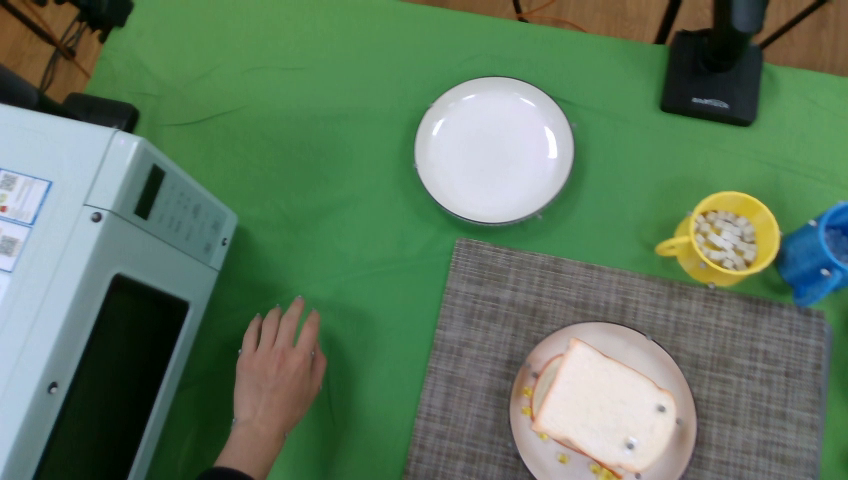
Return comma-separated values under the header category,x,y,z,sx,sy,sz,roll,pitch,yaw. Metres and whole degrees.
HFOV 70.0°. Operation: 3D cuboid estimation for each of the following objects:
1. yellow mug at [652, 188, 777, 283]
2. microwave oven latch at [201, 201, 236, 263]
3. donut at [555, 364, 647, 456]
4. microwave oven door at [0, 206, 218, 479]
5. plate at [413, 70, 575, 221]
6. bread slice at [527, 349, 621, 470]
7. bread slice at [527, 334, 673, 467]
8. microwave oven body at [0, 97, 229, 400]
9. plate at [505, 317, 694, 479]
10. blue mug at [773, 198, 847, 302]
category,x,y,z,sx,sy,sz,roll,pitch,yaw
yellow mug,0.340,-0.001,0.724,0.131,0.064,0.099,-9,73,4
microwave oven latch,-0.267,-0.012,0.775,0.030,0.029,0.079,16,77,9
donut,0.194,0.187,0.667,0.099,0.048,0.098,-1,73,5
microwave oven door,-0.337,0.164,0.627,0.039,0.245,0.354,13,76,9
plate,0.090,-0.121,0.794,0.207,0.039,0.206,-1,75,5
bread slice,0.185,0.188,0.697,0.131,0.019,0.104,24,79,11
bread slice,0.191,0.172,0.639,0.134,0.018,0.107,23,84,5
microwave oven body,-0.465,0.092,0.664,0.325,0.261,0.440,14,77,8
plate,0.197,0.193,0.694,0.209,0.038,0.208,-1,74,5
blue mug,0.455,0.021,0.688,0.082,0.106,0.116,33,80,13
